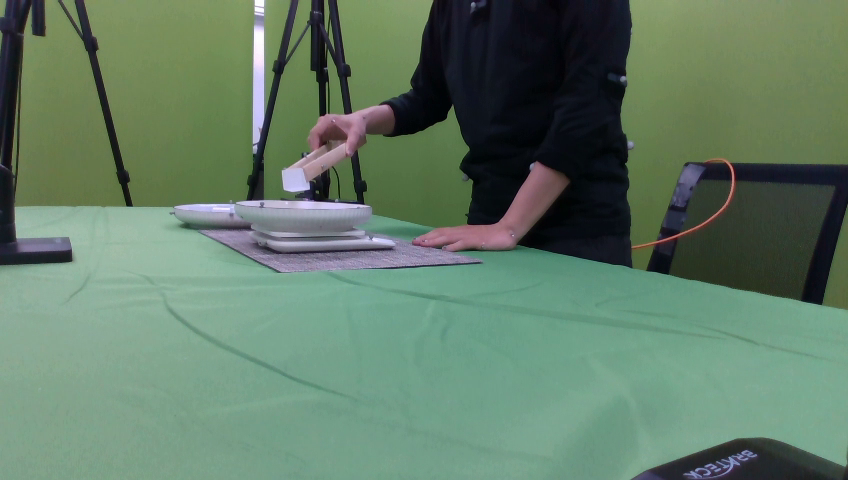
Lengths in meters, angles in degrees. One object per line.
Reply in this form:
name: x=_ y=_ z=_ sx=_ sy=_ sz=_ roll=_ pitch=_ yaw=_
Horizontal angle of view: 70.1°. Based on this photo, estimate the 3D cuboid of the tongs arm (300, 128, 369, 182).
tongs arm: x=-0.159 y=-0.167 z=1.132 sx=0.028 sy=0.028 sz=0.388 roll=-13 pitch=16 yaw=15

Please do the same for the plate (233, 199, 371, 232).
plate: x=-0.188 y=-0.039 z=0.939 sx=0.209 sy=0.038 sz=0.209 roll=3 pitch=7 yaw=0

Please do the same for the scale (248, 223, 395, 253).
scale: x=-0.162 y=-0.006 z=0.954 sx=0.202 sy=0.031 sz=0.148 roll=-2 pitch=8 yaw=-32

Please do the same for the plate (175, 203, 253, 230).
plate: x=-0.381 y=-0.047 z=1.199 sx=0.208 sy=0.039 sz=0.207 roll=3 pitch=7 yaw=0

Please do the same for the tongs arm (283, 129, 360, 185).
tongs arm: x=-0.180 y=-0.164 z=1.137 sx=0.051 sy=0.026 sz=0.384 roll=-11 pitch=17 yaw=9
